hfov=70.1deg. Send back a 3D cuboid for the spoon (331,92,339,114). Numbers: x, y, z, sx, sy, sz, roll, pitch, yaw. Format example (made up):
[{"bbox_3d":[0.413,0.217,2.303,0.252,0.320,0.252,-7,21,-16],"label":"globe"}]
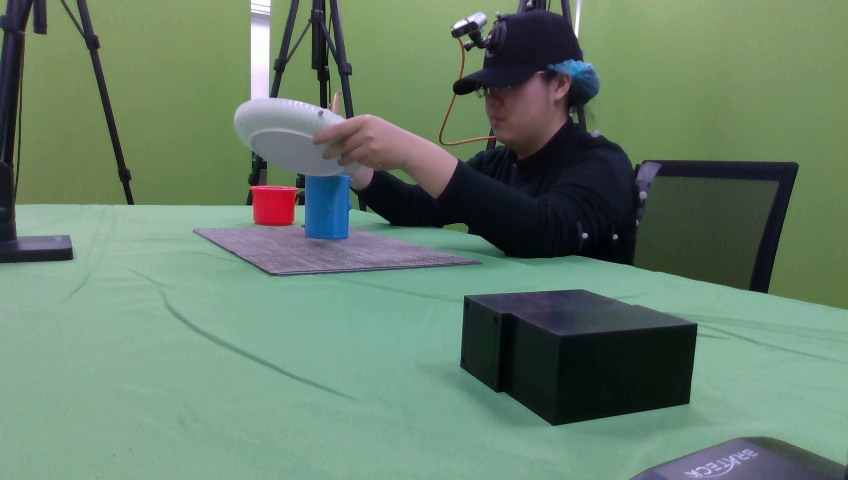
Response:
[{"bbox_3d":[-0.167,-0.194,1.059,0.022,0.193,0.041,27,-43,-22],"label":"spoon"}]

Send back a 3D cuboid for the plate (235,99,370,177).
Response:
[{"bbox_3d":[-0.190,-0.147,0.939,0.208,0.039,0.208,8,-18,3],"label":"plate"}]

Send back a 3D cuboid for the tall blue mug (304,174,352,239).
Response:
[{"bbox_3d":[-0.178,-0.062,1.062,0.078,0.108,0.106,-5,11,-38],"label":"tall blue mug"}]
